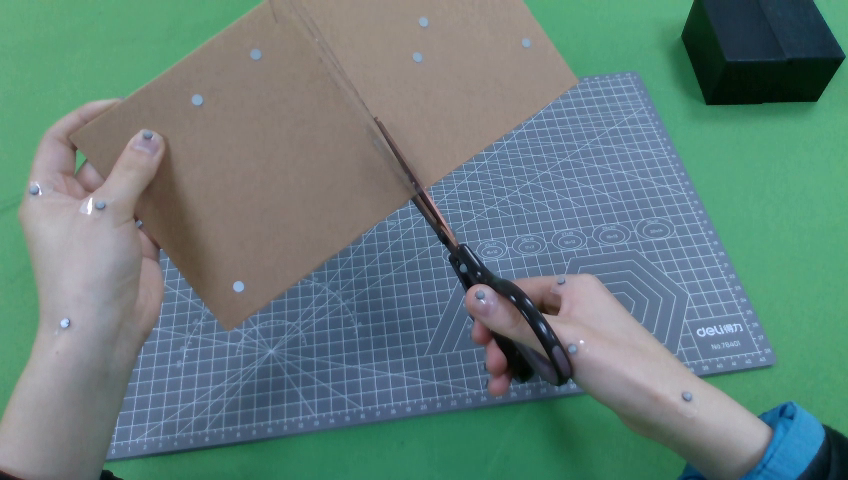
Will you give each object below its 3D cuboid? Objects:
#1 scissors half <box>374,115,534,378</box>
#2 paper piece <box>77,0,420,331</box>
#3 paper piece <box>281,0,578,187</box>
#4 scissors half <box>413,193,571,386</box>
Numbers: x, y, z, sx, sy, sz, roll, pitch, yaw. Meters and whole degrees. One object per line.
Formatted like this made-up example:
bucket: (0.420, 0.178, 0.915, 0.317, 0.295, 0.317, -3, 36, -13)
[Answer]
scissors half: (0.017, 0.006, 0.346, 0.013, 0.040, 0.176, -33, 105, -9)
paper piece: (-0.096, -0.042, 0.334, 0.138, 0.008, 0.136, -35, 90, 1)
paper piece: (0.009, -0.119, 0.356, 0.135, 0.004, 0.135, -36, 92, -21)
scissors half: (0.019, 0.002, 0.322, 0.013, 0.040, 0.173, -32, 65, -14)
